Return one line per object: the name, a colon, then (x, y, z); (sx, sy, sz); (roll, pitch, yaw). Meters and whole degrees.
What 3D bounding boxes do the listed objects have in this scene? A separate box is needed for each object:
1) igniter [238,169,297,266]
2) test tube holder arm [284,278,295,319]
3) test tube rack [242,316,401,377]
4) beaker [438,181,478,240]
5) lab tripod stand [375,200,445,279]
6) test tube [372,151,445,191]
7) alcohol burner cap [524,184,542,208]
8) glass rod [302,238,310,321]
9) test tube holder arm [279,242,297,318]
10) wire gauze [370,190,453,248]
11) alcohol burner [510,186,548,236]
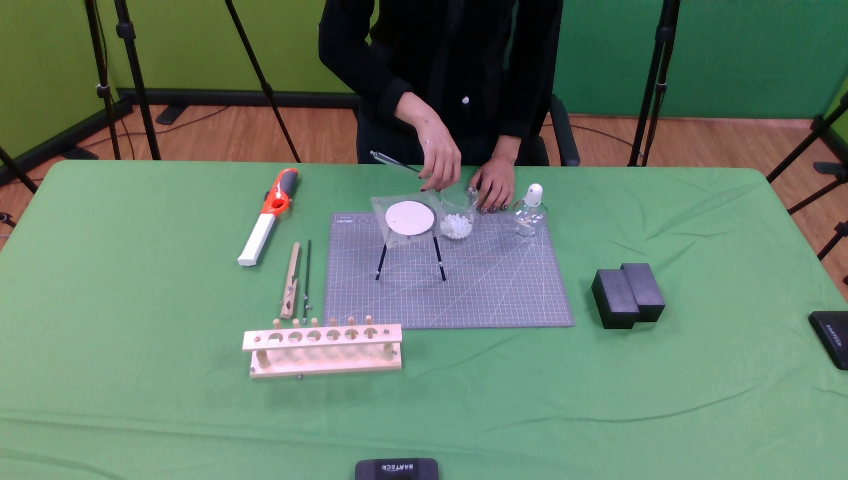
igniter: (-0.313, -0.054, 1.224); (0.057, 0.025, 0.275); (1, 45, 10)
test tube holder arm: (-0.241, 0.103, 1.085); (0.010, 0.015, 0.087); (26, 38, -28)
test tube rack: (-0.160, 0.166, 0.983); (0.242, 0.085, 0.066); (-2, 46, -6)
beaker: (0.066, -0.053, 1.200); (0.074, 0.101, 0.083); (-17, 50, -19)
lab tripod stand: (-0.023, 0.004, 1.114); (0.148, 0.132, 0.147); (4, 45, -3)
test tube: (-0.029, -0.131, 1.145); (0.150, 0.017, 0.017); (25, 45, -11)
alcohol burner cap: (0.216, -0.089, 1.187); (0.034, 0.048, 0.033); (1, 55, -1)
glass rod: (-0.218, 0.069, 1.125); (0.008, 0.008, 0.198); (-2, 47, -5)
test tube holder arm: (-0.249, 0.069, 1.114); (0.013, 0.015, 0.177); (26, 38, -28)
wire gauze: (-0.023, -0.042, 1.064); (0.121, 0.011, 0.124); (-10, 48, -16)
alcohol burner: (0.214, -0.066, 1.213); (0.078, 0.119, 0.077); (3, 48, -3)
